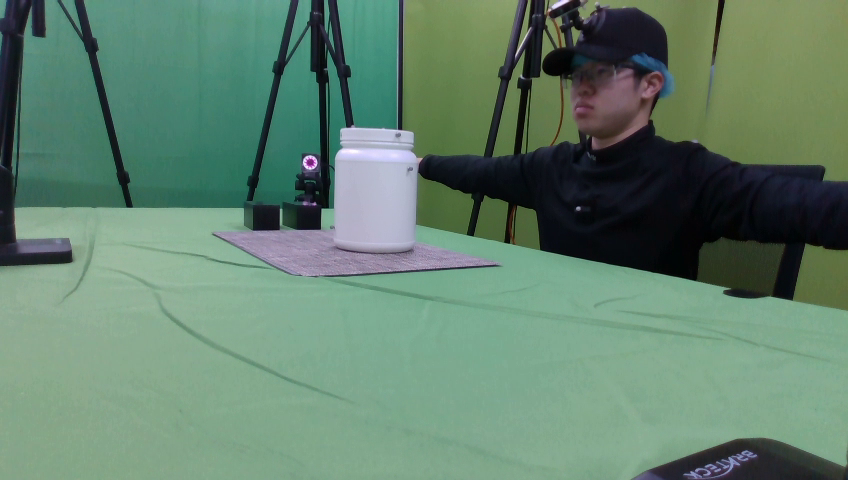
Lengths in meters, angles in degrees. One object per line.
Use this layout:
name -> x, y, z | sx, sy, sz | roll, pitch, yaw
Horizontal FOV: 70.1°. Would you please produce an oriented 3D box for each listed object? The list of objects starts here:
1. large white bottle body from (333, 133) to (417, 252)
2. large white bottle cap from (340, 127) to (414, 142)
large white bottle body -> -0.076, -0.080, 0.950 | 0.131, 0.184, 0.130 | 2, 7, 0
large white bottle cap -> -0.072, -0.163, 0.940 | 0.115, 0.018, 0.115 | 2, 7, 0
